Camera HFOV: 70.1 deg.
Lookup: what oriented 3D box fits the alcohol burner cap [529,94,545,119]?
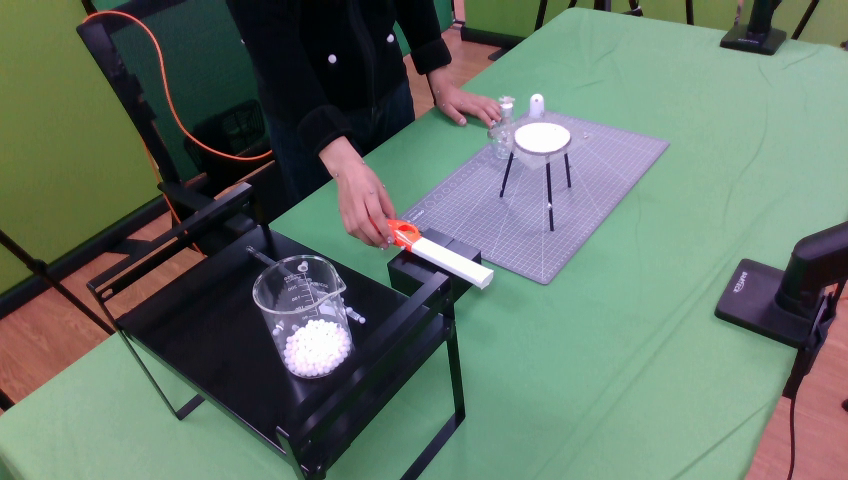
[{"bbox_3d":[0.233,-0.277,1.247,0.034,0.048,0.033,-5,41,5],"label":"alcohol burner cap"}]

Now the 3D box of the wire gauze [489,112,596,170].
[{"bbox_3d":[0.183,-0.161,0.942,0.122,0.011,0.124,-24,44,-18],"label":"wire gauze"}]

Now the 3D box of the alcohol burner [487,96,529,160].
[{"bbox_3d":[0.155,-0.211,1.126,0.078,0.119,0.077,-6,40,5],"label":"alcohol burner"}]

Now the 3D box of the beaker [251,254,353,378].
[{"bbox_3d":[-0.106,0.074,0.565,0.084,0.101,0.073,-1,41,8],"label":"beaker"}]

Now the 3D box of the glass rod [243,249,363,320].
[{"bbox_3d":[-0.141,0.046,0.674,0.198,0.008,0.008,24,49,32],"label":"glass rod"}]

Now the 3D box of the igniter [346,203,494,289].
[{"bbox_3d":[-0.016,0.003,0.896,0.274,0.025,0.057,26,44,31],"label":"igniter"}]

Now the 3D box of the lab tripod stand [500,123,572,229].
[{"bbox_3d":[0.194,-0.110,0.985,0.148,0.132,0.147,-3,41,3],"label":"lab tripod stand"}]
